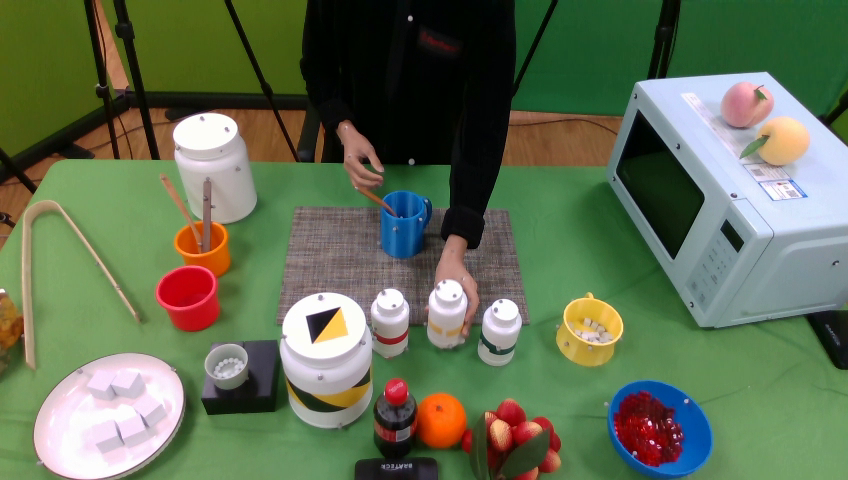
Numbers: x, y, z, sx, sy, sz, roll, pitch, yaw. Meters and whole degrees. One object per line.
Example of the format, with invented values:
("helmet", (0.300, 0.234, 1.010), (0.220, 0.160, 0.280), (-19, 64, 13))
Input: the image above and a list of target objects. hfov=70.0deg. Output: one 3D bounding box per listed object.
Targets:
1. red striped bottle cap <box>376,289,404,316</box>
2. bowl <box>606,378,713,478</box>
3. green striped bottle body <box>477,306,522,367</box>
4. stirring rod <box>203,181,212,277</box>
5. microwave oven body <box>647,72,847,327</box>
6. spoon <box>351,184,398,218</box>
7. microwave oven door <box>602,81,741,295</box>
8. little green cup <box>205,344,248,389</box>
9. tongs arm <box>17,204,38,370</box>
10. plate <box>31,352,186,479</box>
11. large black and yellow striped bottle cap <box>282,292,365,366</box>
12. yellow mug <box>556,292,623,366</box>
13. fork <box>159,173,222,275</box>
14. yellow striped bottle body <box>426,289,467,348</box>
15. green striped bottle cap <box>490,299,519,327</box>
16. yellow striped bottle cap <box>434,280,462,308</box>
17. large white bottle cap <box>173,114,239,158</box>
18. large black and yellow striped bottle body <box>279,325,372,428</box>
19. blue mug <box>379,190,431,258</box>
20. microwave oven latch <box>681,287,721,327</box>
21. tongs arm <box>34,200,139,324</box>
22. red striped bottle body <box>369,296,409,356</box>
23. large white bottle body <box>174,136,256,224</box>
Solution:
("red striped bottle cap", (-0.054, 0.098, 0.958), (0.044, 0.018, 0.044), (0, 48, 0))
("bowl", (0.340, 0.292, 0.906), (0.151, 0.077, 0.150), (2, 46, -2))
("green striped bottle body", (0.124, 0.151, 0.995), (0.063, 0.120, 0.063), (2, 46, -2))
("stirring rod", (-0.396, -0.021, 1.108), (0.014, 0.006, 0.176), (-1, 89, -1))
("microwave oven body", (0.607, -0.089, 1.164), (0.326, 0.261, 0.438), (-7, 46, -10))
("spoon", (-0.070, -0.056, 1.124), (0.021, 0.195, 0.041), (-34, 47, 13))
("microwave oven door", (0.455, -0.107, 1.162), (0.039, 0.245, 0.353), (-6, 47, -11))
("little green cup", (-0.294, 0.192, 0.909), (0.061, 0.039, 0.061), (2, 47, -2))
("tongs arm", (-0.698, 0.069, 1.068), (0.028, 0.028, 0.385), (-20, 50, -13))
("plate", (-0.459, 0.262, 0.898), (0.209, 0.038, 0.208), (2, 46, -2))
("large black and yellow striped bottle cap", (-0.139, 0.121, 0.841), (0.115, 0.019, 0.114), (3, 47, -3))
("yellow mug", (0.285, 0.145, 1.051), (0.100, 0.064, 0.130), (7, 45, 3))
("fork", (-0.427, -0.029, 1.103), (0.028, 0.018, 0.207), (-31, 99, -29))
("yellow striped bottle body", (0.037, 0.120, 0.992), (0.063, 0.121, 0.062), (1, 48, -1))
("green striped bottle cap", (0.127, 0.115, 0.958), (0.044, 0.020, 0.044), (3, 48, -3))
("yellow striped bottle cap", (0.038, 0.085, 0.954), (0.044, 0.019, 0.044), (1, 48, -1))
("large white bottle cap", (-0.403, -0.195, 1.122), (0.115, 0.018, 0.114), (2, 47, -2))
("large black and yellow striped bottle body", (-0.143, 0.181, 0.900), (0.131, 0.185, 0.130), (2, 46, -2))
("blue mug", (-0.032, -0.037, 1.169), (0.116, 0.106, 0.082), (-29, 55, -28))
("microwave oven latch", (0.494, 0.119, 1.087), (0.030, 0.029, 0.078), (-6, 46, -9))
("tongs arm", (-0.622, 0.034, 1.105), (0.051, 0.026, 0.382), (-32, 56, -26))
("red striped bottle body", (-0.058, 0.134, 0.997), (0.063, 0.120, 0.062), (4, 47, -4))
("large white bottle body", (-0.408, -0.137, 1.183), (0.131, 0.185, 0.130), (2, 46, -2))
